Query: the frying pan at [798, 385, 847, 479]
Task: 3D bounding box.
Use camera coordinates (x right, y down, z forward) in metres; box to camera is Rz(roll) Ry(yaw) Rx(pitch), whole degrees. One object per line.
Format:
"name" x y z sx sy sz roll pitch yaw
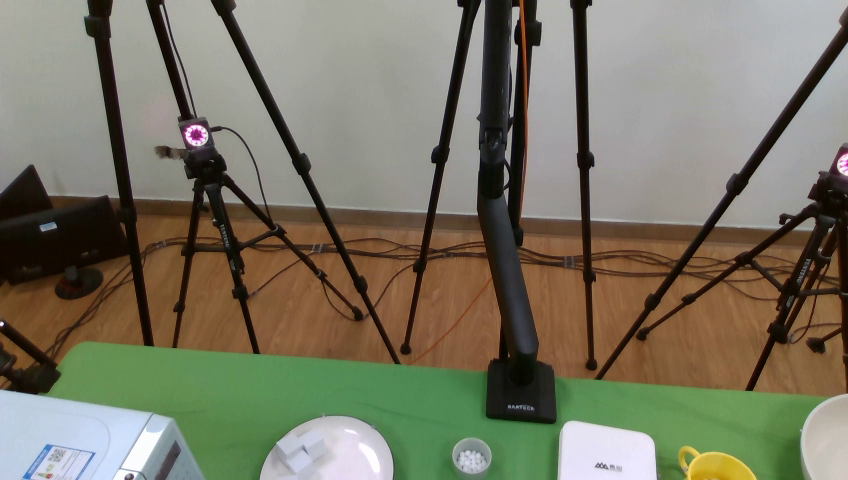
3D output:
"frying pan" 0.736 0.403 0.811 0.307 0.103 0.482 -15 34 -13

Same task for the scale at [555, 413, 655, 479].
"scale" 0.277 0.365 0.929 0.148 0.032 0.199 6 42 10

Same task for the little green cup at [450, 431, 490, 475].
"little green cup" 0.073 0.340 0.961 0.061 0.039 0.061 -1 40 1

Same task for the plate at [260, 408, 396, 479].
"plate" -0.147 0.361 0.945 0.208 0.039 0.205 -1 41 1

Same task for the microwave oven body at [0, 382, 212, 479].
"microwave oven body" -0.506 0.425 0.707 0.325 0.262 0.438 6 42 8

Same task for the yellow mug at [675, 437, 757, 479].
"yellow mug" 0.425 0.353 0.910 0.100 0.064 0.129 -19 43 -17

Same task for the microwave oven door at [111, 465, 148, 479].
"microwave oven door" -0.370 0.462 0.651 0.039 0.246 0.353 5 41 9
